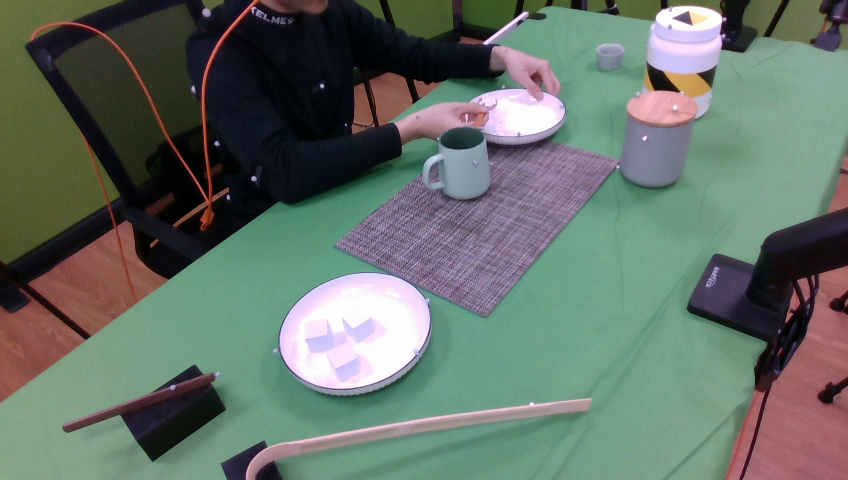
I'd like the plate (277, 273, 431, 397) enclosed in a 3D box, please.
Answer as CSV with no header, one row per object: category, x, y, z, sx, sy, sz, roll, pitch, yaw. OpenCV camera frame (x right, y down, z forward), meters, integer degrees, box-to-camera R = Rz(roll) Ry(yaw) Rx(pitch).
plate,-0.091,0.129,0.821,0.207,0.039,0.206,-4,40,4

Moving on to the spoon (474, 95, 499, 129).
spoon,0.113,-0.244,1.150,0.041,0.022,0.193,8,27,11

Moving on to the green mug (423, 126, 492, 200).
green mug,0.055,-0.126,1.039,0.126,0.105,0.091,-25,44,-18

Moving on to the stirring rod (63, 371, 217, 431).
stirring rod,-0.337,0.192,0.723,0.177,0.014,0.005,-18,43,-12

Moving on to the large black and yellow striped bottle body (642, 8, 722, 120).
large black and yellow striped bottle body,0.493,-0.334,1.161,0.131,0.185,0.130,-4,41,4

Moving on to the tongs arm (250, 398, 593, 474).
tongs arm,0.008,0.212,0.675,0.389,0.028,0.028,-5,46,-11

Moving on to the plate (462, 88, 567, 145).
plate,0.180,-0.244,1.211,0.209,0.038,0.208,-3,39,3

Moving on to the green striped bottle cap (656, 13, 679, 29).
green striped bottle cap,0.515,-0.463,1.278,0.044,0.020,0.044,-6,42,6

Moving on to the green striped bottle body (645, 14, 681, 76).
green striped bottle body,0.520,-0.424,1.312,0.063,0.120,0.063,-4,41,4

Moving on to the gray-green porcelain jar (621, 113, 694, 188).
gray-green porcelain jar,0.390,-0.161,1.020,0.106,0.127,0.105,-4,41,4

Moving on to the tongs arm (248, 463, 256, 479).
tongs arm,0.012,0.262,0.615,0.385,0.026,0.050,3,42,-2

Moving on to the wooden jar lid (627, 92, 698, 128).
wooden jar lid,0.384,-0.207,0.980,0.108,0.021,0.108,-6,39,5

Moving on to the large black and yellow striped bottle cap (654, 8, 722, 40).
large black and yellow striped bottle cap,0.483,-0.397,1.108,0.115,0.019,0.114,-3,41,3

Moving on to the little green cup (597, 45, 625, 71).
little green cup,0.423,-0.413,1.375,0.061,0.039,0.061,-3,41,3
